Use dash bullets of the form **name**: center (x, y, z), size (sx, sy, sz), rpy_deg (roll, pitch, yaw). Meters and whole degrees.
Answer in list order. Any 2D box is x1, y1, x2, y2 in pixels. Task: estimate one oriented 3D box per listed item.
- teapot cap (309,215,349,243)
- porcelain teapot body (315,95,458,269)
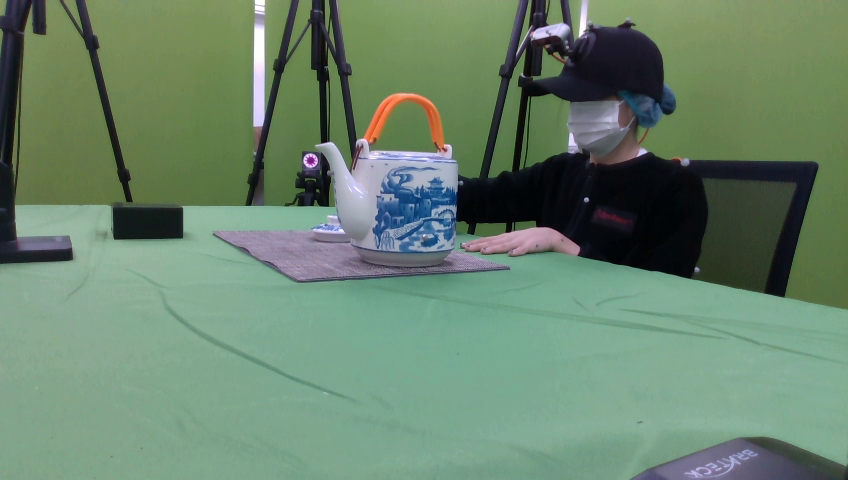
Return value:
- **teapot cap**: center (-0.151, -0.020, 1.013), size (0.085, 0.044, 0.085), rpy_deg (3, 10, 0)
- **porcelain teapot body**: center (-0.049, -0.079, 0.800), size (0.206, 0.225, 0.144), rpy_deg (-3, 9, -37)
